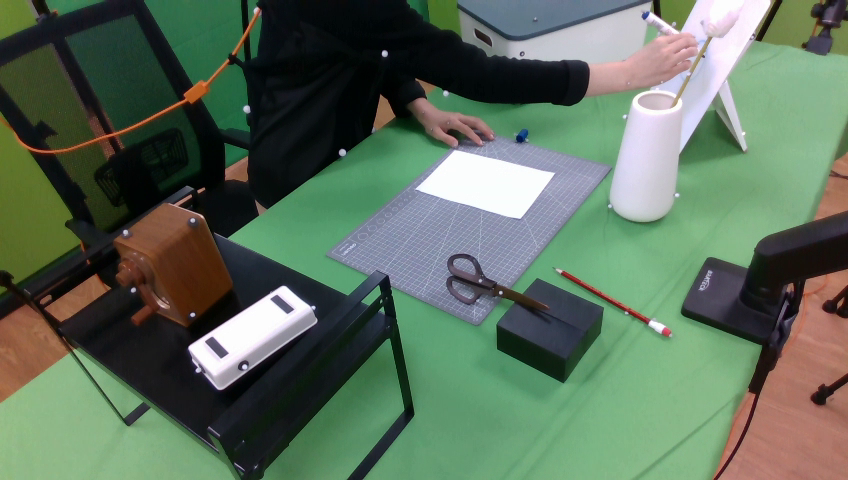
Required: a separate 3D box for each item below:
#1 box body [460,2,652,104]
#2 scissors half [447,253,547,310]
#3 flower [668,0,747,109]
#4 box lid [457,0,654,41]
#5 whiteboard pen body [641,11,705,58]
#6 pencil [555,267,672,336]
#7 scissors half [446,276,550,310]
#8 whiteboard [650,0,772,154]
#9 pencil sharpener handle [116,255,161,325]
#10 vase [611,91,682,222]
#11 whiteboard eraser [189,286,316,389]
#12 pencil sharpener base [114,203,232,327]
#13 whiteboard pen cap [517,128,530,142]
[{"bbox_3d":[0.291,-0.465,1.371,0.365,0.161,0.252,-22,42,-16],"label":"box body"},{"bbox_3d":[0.098,0.058,0.821,0.173,0.040,0.013,27,33,36],"label":"scissors half"},{"bbox_3d":[0.355,-0.187,0.879,0.038,0.362,0.044,31,48,14],"label":"flower"},{"bbox_3d":[0.285,-0.522,1.323,0.373,0.015,0.261,-22,43,-16],"label":"box lid"},{"bbox_3d":[0.421,-0.342,1.015,0.141,0.017,0.017,25,38,-18],"label":"whiteboard pen body"},{"bbox_3d":[0.261,0.082,0.851,0.012,0.012,0.192,-33,45,-27],"label":"pencil"},{"bbox_3d":[0.098,0.077,0.827,0.174,0.040,0.013,6,14,44],"label":"scissors half"},{"bbox_3d":[0.543,-0.298,1.076,0.144,0.305,0.216,12,40,-7],"label":"whiteboard"},{"bbox_3d":[-0.286,0.050,0.594,0.035,0.068,0.031,7,41,36],"label":"pencil sharpener handle"},{"bbox_3d":[0.348,-0.125,0.935,0.098,0.201,0.097,-3,40,3],"label":"vase"},{"bbox_3d":[-0.166,0.096,0.593,0.113,0.042,0.055,-36,46,-29],"label":"whiteboard eraser"},{"bbox_3d":[-0.261,0.029,0.635,0.061,0.107,0.077,18,47,26],"label":"pencil sharpener base"},{"bbox_3d":[0.195,-0.207,1.192,0.018,0.018,0.033,14,41,23],"label":"whiteboard pen cap"}]
